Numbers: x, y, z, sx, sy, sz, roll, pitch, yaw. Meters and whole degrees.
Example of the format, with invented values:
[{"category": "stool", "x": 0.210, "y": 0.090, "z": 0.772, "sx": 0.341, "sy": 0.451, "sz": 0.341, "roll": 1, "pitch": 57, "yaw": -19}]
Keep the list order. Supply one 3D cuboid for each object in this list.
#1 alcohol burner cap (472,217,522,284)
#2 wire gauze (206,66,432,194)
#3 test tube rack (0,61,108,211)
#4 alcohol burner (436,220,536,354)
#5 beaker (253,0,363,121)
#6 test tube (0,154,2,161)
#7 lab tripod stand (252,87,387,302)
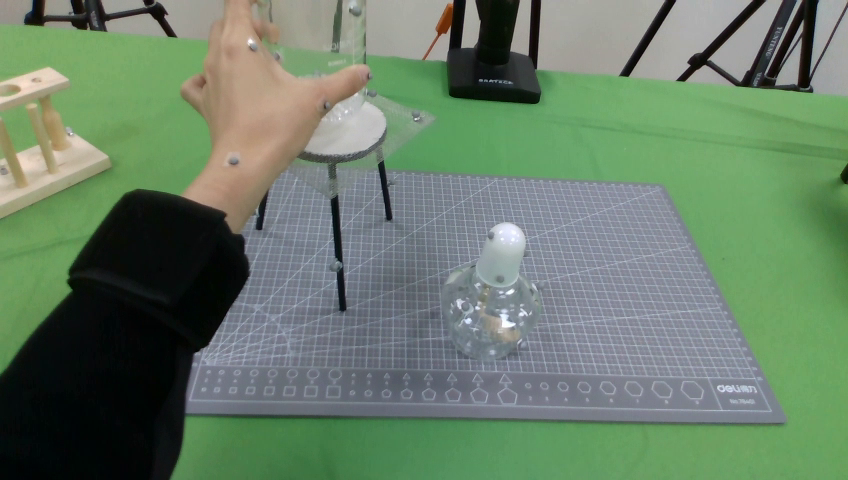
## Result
[{"category": "alcohol burner cap", "x": 0.053, "y": 0.006, "z": 0.429, "sx": 0.034, "sy": 0.048, "sz": 0.033, "roll": 4, "pitch": 47, "yaw": -4}, {"category": "wire gauze", "x": -0.076, "y": -0.093, "z": 0.454, "sx": 0.124, "sy": 0.011, "sz": 0.121, "roll": 32, "pitch": 48, "yaw": 22}, {"category": "test tube rack", "x": -0.409, "y": -0.063, "z": 0.513, "sx": 0.066, "sy": 0.086, "sz": 0.242, "roll": 31, "pitch": 47, "yaw": 23}, {"category": "alcohol burner", "x": 0.050, "y": 0.031, "z": 0.454, "sx": 0.078, "sy": 0.120, "sz": 0.077, "roll": 6, "pitch": 41, "yaw": -5}, {"category": "beaker", "x": -0.079, "y": -0.138, "z": 0.409, "sx": 0.084, "sy": 0.101, "sz": 0.073, "roll": -33, "pitch": 58, "yaw": -32}, {"category": "test tube", "x": -0.394, "y": -0.132, "z": 0.514, "sx": 0.017, "sy": 0.151, "sz": 0.017, "roll": 2, "pitch": 40, "yaw": -1}, {"category": "lab tripod stand", "x": -0.080, "y": -0.044, "z": 0.500, "sx": 0.148, "sy": 0.132, "sz": 0.147, "roll": 6, "pitch": 43, "yaw": -5}]
